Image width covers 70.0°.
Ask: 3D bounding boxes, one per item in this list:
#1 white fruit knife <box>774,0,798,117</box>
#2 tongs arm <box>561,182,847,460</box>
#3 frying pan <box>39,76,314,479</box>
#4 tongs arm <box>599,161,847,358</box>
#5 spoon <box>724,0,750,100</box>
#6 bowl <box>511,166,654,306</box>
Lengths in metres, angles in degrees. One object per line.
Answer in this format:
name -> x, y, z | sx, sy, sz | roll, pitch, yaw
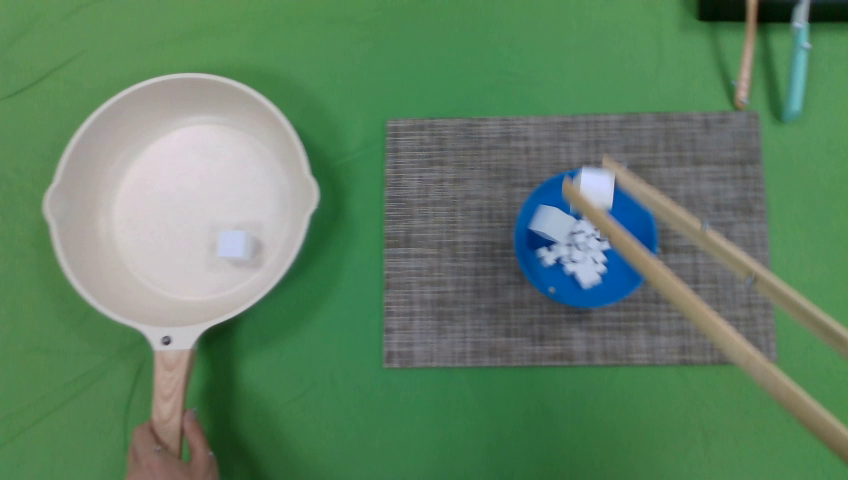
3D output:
white fruit knife -> 0.425, -0.250, 0.705 | 0.016, 0.027, 0.207 | -1, 97, -3
tongs arm -> 0.221, 0.065, 0.430 | 0.028, 0.028, 0.383 | -27, 47, -14
frying pan -> -0.272, 0.060, 0.672 | 0.307, 0.103, 0.485 | -2, 74, 2
tongs arm -> 0.245, 0.051, 0.435 | 0.051, 0.027, 0.380 | -32, 48, -13
spoon -> 0.370, -0.262, 0.703 | 0.041, 0.022, 0.194 | 13, 105, 28
bowl -> 0.169, 0.000, 0.676 | 0.151, 0.077, 0.151 | 0, 82, 2
